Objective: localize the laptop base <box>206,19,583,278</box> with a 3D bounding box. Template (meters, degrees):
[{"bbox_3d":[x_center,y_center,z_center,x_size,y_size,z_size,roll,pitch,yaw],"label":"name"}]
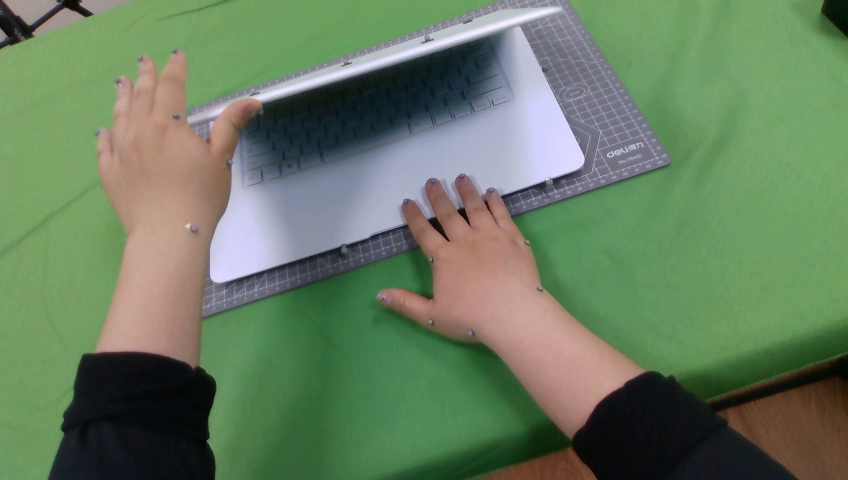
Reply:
[{"bbox_3d":[-0.049,-0.105,0.605,0.354,0.023,0.233,-18,57,4],"label":"laptop base"}]

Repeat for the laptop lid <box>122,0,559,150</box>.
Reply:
[{"bbox_3d":[-0.072,-0.162,0.556,0.356,0.013,0.240,-17,20,5],"label":"laptop lid"}]
